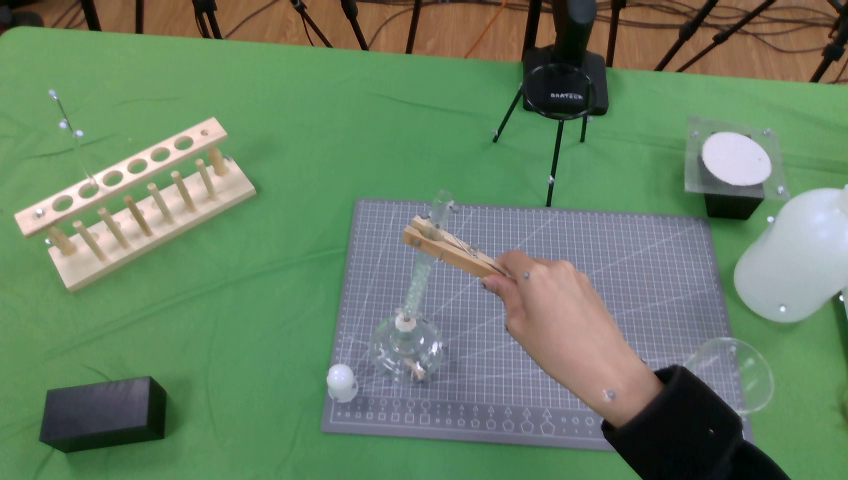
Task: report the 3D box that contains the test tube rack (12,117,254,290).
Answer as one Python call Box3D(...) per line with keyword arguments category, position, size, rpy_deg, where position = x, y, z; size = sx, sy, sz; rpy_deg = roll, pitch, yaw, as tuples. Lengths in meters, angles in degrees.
Box3D(category="test tube rack", position=(-0.336, -0.046, 0.724), size=(0.242, 0.086, 0.066), rpy_deg=(-32, 65, -19))

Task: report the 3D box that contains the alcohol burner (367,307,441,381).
Box3D(category="alcohol burner", position=(-0.020, 0.099, 0.621), size=(0.078, 0.120, 0.077), rpy_deg=(2, 57, -2))

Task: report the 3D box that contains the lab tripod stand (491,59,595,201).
Box3D(category="lab tripod stand", position=(0.158, -0.144, 0.765), size=(0.148, 0.132, 0.147), rpy_deg=(1, 60, -2))

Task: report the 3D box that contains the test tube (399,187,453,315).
Box3D(category="test tube", position=(-0.001, 0.015, 0.509), size=(0.017, 0.151, 0.017), rpy_deg=(9, 45, -9))

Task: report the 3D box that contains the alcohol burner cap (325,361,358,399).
Box3D(category="alcohol burner cap", position=(-0.088, 0.145, 0.635), size=(0.034, 0.048, 0.033), rpy_deg=(-1, 60, 1))

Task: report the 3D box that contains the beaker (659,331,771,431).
Box3D(category="beaker", position=(0.283, 0.145, 0.607), size=(0.084, 0.101, 0.073), rpy_deg=(8, 58, 5))

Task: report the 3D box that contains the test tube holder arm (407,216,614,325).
Box3D(category="test tube holder arm", position=(0.066, 0.024, 0.483), size=(0.178, 0.015, 0.013), rpy_deg=(24, 63, 10))

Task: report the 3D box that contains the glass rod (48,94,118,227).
Box3D(category="glass rod", position=(-0.370, -0.077, 0.665), size=(0.008, 0.201, 0.008), rpy_deg=(3, 50, -3))

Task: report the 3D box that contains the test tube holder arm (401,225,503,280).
Box3D(category="test tube holder arm", position=(0.023, 0.010, 0.487), size=(0.087, 0.015, 0.010), rpy_deg=(21, 62, 8))

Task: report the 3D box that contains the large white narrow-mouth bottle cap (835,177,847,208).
Box3D(category="large white narrow-mouth bottle cap", position=(0.412, -0.047, 0.572), size=(0.038, 0.024, 0.037), rpy_deg=(0, 58, 0))

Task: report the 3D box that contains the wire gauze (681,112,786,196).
Box3D(category="wire gauze", position=(0.385, -0.108, 0.762), size=(0.121, 0.011, 0.124), rpy_deg=(10, 59, 5))

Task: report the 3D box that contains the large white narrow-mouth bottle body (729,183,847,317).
Box3D(category="large white narrow-mouth bottle body", position=(0.412, 0.000, 0.645), size=(0.102, 0.196, 0.101), rpy_deg=(0, 58, 0))

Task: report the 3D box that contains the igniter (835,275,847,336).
Box3D(category="igniter", position=(0.483, 0.149, 0.653), size=(0.057, 0.025, 0.274), rpy_deg=(13, 59, -5))
